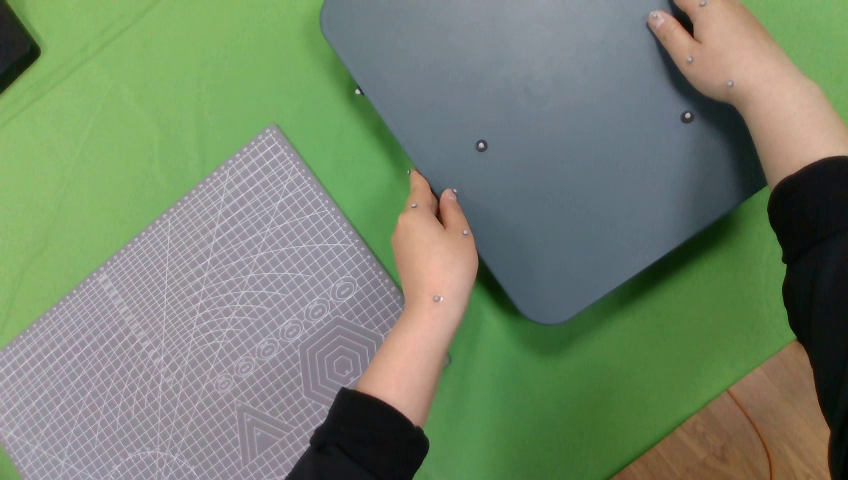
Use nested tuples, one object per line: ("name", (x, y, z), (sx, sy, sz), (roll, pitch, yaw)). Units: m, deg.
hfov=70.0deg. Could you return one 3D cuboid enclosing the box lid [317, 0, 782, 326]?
("box lid", (0.097, -0.138, 0.533), (0.263, 0.015, 0.370), (-36, 84, 5))
